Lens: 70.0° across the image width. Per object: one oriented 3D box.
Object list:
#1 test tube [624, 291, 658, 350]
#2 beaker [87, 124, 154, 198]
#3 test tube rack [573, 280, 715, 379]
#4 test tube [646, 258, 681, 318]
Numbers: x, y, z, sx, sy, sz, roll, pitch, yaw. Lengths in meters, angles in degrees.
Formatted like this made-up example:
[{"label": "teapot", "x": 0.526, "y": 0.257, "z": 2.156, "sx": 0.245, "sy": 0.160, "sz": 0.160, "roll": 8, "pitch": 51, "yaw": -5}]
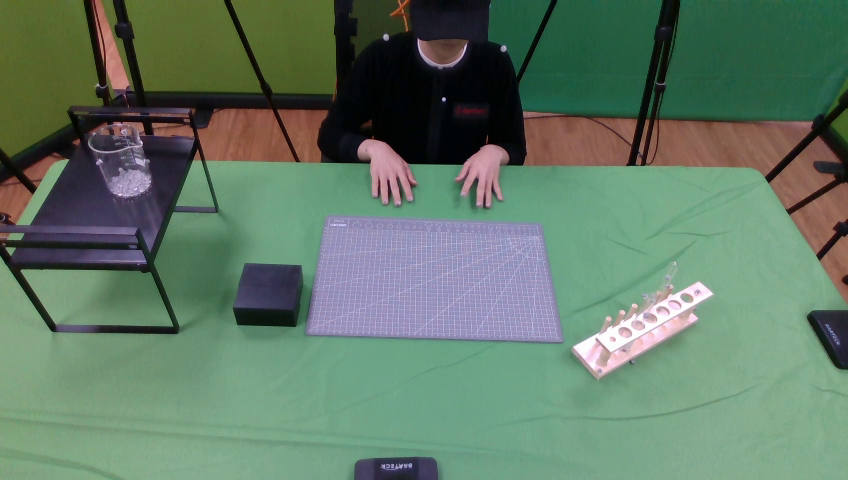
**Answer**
[{"label": "test tube", "x": 0.348, "y": 0.133, "z": 0.974, "sx": 0.017, "sy": 0.151, "sz": 0.017, "roll": 1, "pitch": 47, "yaw": -1}, {"label": "beaker", "x": -0.482, "y": -0.124, "z": 0.978, "sx": 0.084, "sy": 0.101, "sz": 0.073, "roll": 9, "pitch": 46, "yaw": 4}, {"label": "test tube rack", "x": 0.378, "y": 0.140, "z": 1.038, "sx": 0.242, "sy": 0.085, "sz": 0.066, "roll": -22, "pitch": 51, "yaw": -23}, {"label": "test tube", "x": 0.406, "y": 0.084, "z": 1.032, "sx": 0.017, "sy": 0.151, "sz": 0.017, "roll": 1, "pitch": 47, "yaw": -1}]
